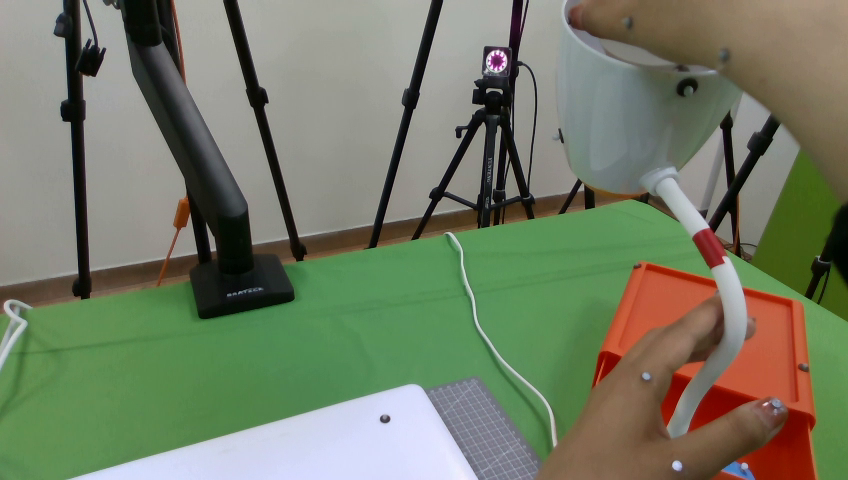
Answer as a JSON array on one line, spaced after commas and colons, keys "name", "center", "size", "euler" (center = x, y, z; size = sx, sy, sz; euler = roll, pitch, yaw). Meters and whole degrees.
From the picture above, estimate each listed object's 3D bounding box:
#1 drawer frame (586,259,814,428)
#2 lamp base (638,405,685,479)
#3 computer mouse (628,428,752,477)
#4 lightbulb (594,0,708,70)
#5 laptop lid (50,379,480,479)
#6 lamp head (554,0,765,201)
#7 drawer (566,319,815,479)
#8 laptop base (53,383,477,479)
[{"name": "drawer frame", "center": [0.309, 0.121, 0.683], "size": [0.200, 0.083, 0.213], "euler": [15, 30, 21]}, {"name": "lamp base", "center": [0.158, 0.213, 0.397], "size": [0.161, 0.181, 0.177], "euler": [0, 27, -9]}, {"name": "computer mouse", "center": [0.241, 0.210, 0.550], "size": [0.117, 0.041, 0.062], "euler": [14, 30, 13]}, {"name": "lightbulb", "center": [0.127, -0.109, 0.354], "size": [0.059, 0.109, 0.059], "euler": [-3, 50, 4]}, {"name": "laptop lid", "center": [-0.119, 0.231, 0.483], "size": [0.358, 0.013, 0.239], "euler": [-10, 34, -22]}, {"name": "lamp head", "center": [0.133, -0.085, 0.375], "size": [0.112, 0.124, 0.111], "euler": [-2, 44, 2]}, {"name": "drawer", "center": [0.261, 0.170, 0.595], "size": [0.193, 0.074, 0.211], "euler": [13, 30, 20]}, {"name": "laptop base", "center": [-0.121, 0.240, 0.491], "size": [0.355, 0.023, 0.233], "euler": [-10, 35, -23]}]
